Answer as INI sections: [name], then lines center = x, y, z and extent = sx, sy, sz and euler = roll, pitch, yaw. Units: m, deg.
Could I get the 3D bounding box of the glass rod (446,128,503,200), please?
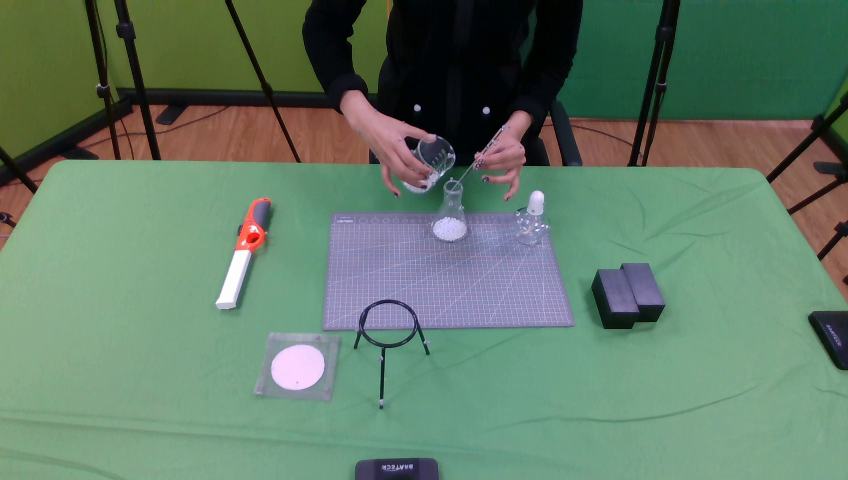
[glass rod]
center = 0.089, -0.134, 1.103
extent = 0.008, 0.200, 0.008
euler = 18, 48, -20

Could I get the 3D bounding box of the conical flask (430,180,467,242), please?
[conical flask]
center = 0.052, -0.060, 1.188
extent = 0.075, 0.122, 0.075
euler = 2, 46, -2

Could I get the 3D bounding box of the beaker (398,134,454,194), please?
[beaker]
center = 0.001, -0.135, 1.121
extent = 0.074, 0.100, 0.083
euler = 2, 65, -27

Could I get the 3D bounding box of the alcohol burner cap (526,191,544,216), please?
[alcohol burner cap]
center = 0.216, -0.073, 1.170
extent = 0.034, 0.048, 0.033
euler = 0, 43, 0

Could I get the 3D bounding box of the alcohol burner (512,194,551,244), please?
[alcohol burner]
center = 0.215, -0.048, 1.196
extent = 0.078, 0.119, 0.077
euler = 4, 46, -4

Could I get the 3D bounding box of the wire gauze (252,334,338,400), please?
[wire gauze]
center = -0.209, 0.204, 0.996
extent = 0.125, 0.011, 0.120
euler = 3, 45, 1

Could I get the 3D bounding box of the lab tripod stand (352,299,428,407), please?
[lab tripod stand]
center = -0.056, 0.166, 0.958
extent = 0.148, 0.132, 0.147
euler = 3, 44, -2

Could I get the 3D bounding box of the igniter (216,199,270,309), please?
[igniter]
center = -0.342, 0.016, 1.153
extent = 0.057, 0.025, 0.275
euler = -3, 45, 7
